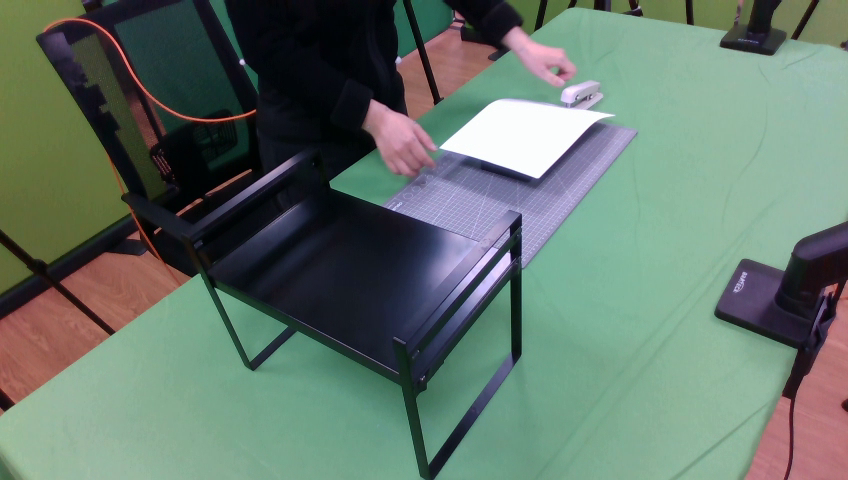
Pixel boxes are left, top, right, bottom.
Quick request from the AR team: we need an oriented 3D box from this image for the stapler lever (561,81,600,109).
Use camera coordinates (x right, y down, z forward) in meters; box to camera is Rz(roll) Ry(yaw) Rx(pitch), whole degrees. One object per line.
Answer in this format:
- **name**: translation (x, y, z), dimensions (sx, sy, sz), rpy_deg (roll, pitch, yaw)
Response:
- **stapler lever**: translation (0.323, -0.307, 1.246), dimensions (0.026, 0.040, 0.118), rpy_deg (28, 50, 33)

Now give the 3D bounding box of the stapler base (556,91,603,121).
- **stapler base**: translation (0.324, -0.287, 1.261), dimensions (0.041, 0.024, 0.131), rpy_deg (29, 49, 33)
